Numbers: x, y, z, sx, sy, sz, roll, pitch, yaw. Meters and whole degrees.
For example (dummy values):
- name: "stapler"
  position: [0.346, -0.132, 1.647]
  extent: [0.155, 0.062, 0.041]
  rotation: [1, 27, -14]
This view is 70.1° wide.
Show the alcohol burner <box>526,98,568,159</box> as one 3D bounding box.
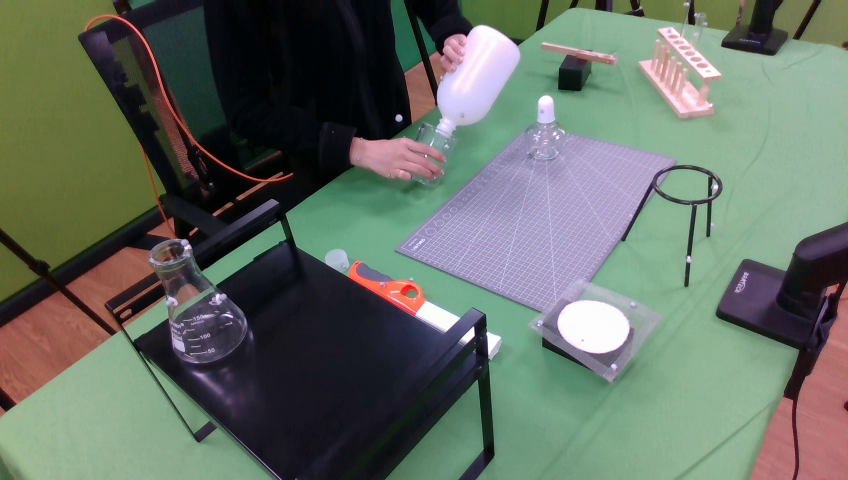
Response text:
- name: "alcohol burner"
  position: [0.228, -0.210, 1.118]
  extent: [0.078, 0.119, 0.077]
  rotation: [-5, 43, 5]

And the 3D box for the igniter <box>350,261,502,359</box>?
- name: "igniter"
  position: [-0.009, 0.094, 0.870]
  extent: [0.274, 0.025, 0.057]
  rotation: [25, 61, 33]

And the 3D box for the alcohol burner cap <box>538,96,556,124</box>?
- name: "alcohol burner cap"
  position: [0.222, -0.237, 1.095]
  extent: [0.034, 0.048, 0.033]
  rotation: [-7, 35, 5]

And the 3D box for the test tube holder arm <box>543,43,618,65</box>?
- name: "test tube holder arm"
  position: [0.344, -0.413, 1.340]
  extent: [0.177, 0.015, 0.013]
  rotation: [25, 51, 31]

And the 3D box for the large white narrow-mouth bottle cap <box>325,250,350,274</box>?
- name: "large white narrow-mouth bottle cap"
  position: [-0.138, 0.035, 0.966]
  extent: [0.038, 0.024, 0.037]
  rotation: [-4, 41, 4]

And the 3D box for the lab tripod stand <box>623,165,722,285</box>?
- name: "lab tripod stand"
  position: [0.365, -0.030, 0.874]
  extent: [0.148, 0.132, 0.147]
  rotation: [-6, 41, 6]

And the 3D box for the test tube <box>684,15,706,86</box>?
- name: "test tube"
  position: [0.541, -0.378, 1.215]
  extent: [0.017, 0.151, 0.017]
  rotation: [-2, 44, 3]

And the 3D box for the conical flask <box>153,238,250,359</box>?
- name: "conical flask"
  position: [-0.225, 0.055, 0.597]
  extent: [0.075, 0.122, 0.075]
  rotation: [-5, 41, 4]

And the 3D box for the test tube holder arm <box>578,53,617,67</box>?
- name: "test tube holder arm"
  position: [0.376, -0.393, 1.314]
  extent: [0.087, 0.015, 0.010]
  rotation: [26, 51, 32]

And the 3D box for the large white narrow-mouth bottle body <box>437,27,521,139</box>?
- name: "large white narrow-mouth bottle body"
  position: [0.084, -0.270, 1.078]
  extent: [0.101, 0.103, 0.194]
  rotation: [37, 98, 40]

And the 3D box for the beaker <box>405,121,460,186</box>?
- name: "beaker"
  position: [0.015, -0.154, 1.094]
  extent: [0.073, 0.100, 0.084]
  rotation: [31, 14, 32]

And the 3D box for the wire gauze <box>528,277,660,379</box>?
- name: "wire gauze"
  position: [0.213, 0.103, 0.763]
  extent: [0.124, 0.011, 0.122]
  rotation: [30, 52, 35]

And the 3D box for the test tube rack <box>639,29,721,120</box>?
- name: "test tube rack"
  position: [0.527, -0.351, 1.262]
  extent: [0.067, 0.085, 0.241]
  rotation: [-8, 40, 1]

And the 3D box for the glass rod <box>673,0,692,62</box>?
- name: "glass rod"
  position: [0.536, -0.437, 1.257]
  extent: [0.008, 0.200, 0.008]
  rotation: [0, 39, 1]
